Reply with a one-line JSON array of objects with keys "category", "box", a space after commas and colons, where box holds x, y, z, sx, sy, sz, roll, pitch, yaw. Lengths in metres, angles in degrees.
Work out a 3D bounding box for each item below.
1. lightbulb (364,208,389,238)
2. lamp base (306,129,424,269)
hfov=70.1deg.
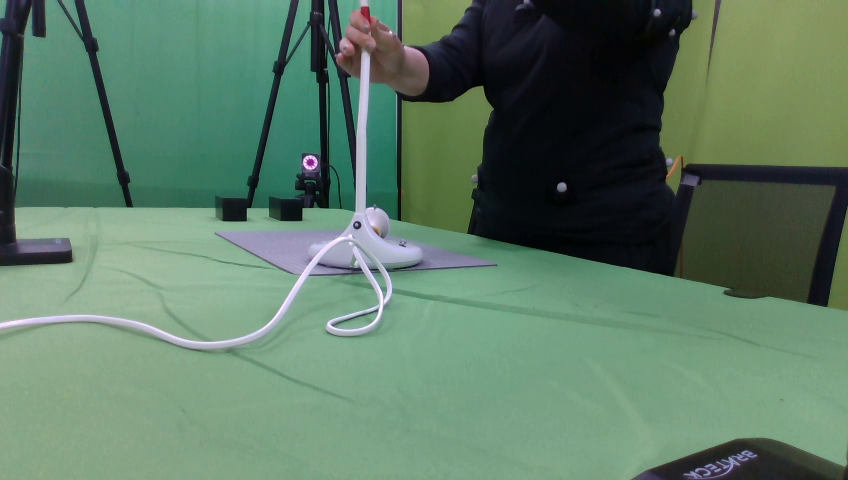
[{"category": "lightbulb", "box": [-0.089, -0.017, 1.019, 0.059, 0.059, 0.107, 3, 23, -2]}, {"category": "lamp base", "box": [-0.077, -0.057, 0.810, 0.161, 0.180, 0.179, 2, 10, -4]}]
